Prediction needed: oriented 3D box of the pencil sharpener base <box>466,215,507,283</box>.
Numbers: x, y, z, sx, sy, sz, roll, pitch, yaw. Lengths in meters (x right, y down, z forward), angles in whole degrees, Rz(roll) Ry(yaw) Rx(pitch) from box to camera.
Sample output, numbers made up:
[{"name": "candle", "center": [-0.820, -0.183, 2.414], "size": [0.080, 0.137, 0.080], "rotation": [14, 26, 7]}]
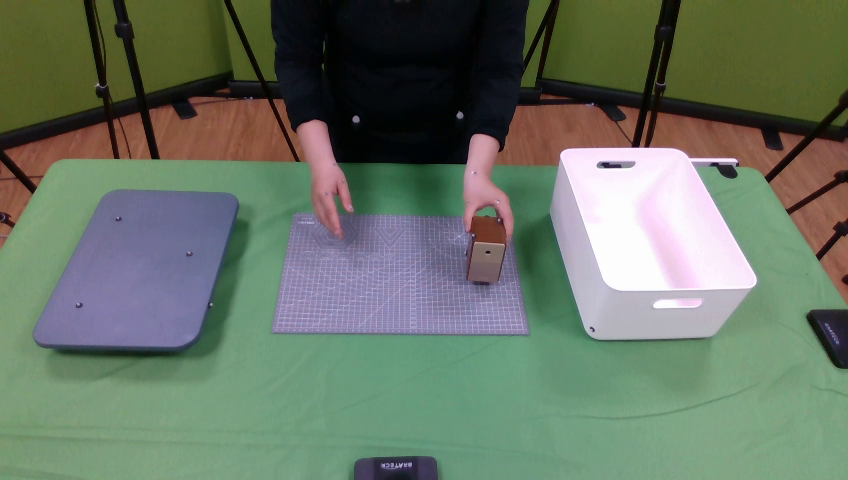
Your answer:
[{"name": "pencil sharpener base", "center": [0.112, 0.016, 1.104], "size": [0.061, 0.107, 0.076], "rotation": [4, 44, -1]}]

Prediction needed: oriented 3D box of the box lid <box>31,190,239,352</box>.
[{"name": "box lid", "center": [-0.491, 0.040, 1.070], "size": [0.263, 0.015, 0.369], "rotation": [1, 46, -3]}]

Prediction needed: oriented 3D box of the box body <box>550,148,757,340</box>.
[{"name": "box body", "center": [0.395, 0.003, 1.127], "size": [0.254, 0.161, 0.361], "rotation": [-1, 46, -5]}]

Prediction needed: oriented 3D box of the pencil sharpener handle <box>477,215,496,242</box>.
[{"name": "pencil sharpener handle", "center": [0.112, -0.028, 1.132], "size": [0.036, 0.068, 0.030], "rotation": [10, 43, -7]}]
